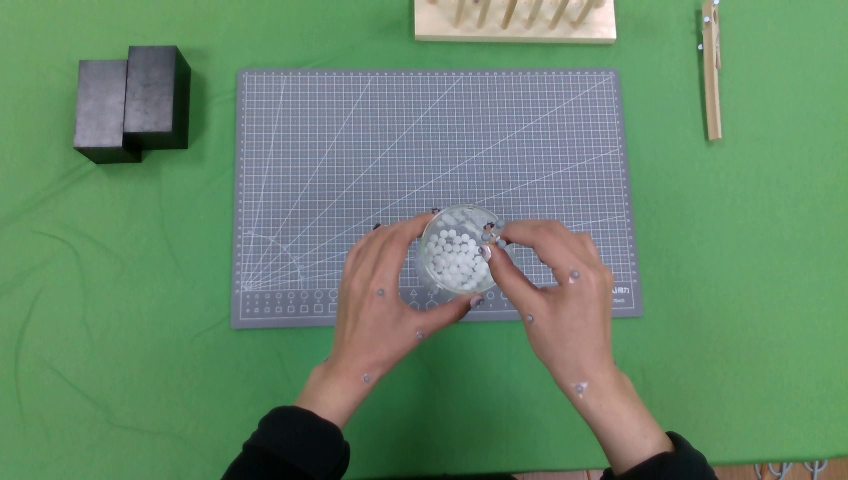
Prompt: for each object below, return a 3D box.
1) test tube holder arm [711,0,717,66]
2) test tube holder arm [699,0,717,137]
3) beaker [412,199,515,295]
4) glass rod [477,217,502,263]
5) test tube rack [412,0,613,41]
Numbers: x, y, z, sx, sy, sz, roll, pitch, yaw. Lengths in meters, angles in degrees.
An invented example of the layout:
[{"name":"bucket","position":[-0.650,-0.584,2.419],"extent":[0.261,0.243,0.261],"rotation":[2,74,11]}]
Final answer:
[{"name":"test tube holder arm","position":[0.351,-0.253,0.743],"extent":[0.010,0.015,0.087],"rotation":[12,77,-31]},{"name":"test tube holder arm","position":[0.343,-0.210,0.731],"extent":[0.013,0.015,0.177],"rotation":[11,77,-32]},{"name":"beaker","position":[0.030,0.012,0.531],"extent":[0.084,0.100,0.074],"rotation":[16,81,-4]},{"name":"glass rod","position":[0.049,0.004,0.475],"extent":[0.008,0.200,0.008],"rotation":[0,81,2]},{"name":"test tube rack","position":[0.109,-0.284,0.700],"extent":[0.242,0.085,0.066],"rotation":[0,78,-3]}]
